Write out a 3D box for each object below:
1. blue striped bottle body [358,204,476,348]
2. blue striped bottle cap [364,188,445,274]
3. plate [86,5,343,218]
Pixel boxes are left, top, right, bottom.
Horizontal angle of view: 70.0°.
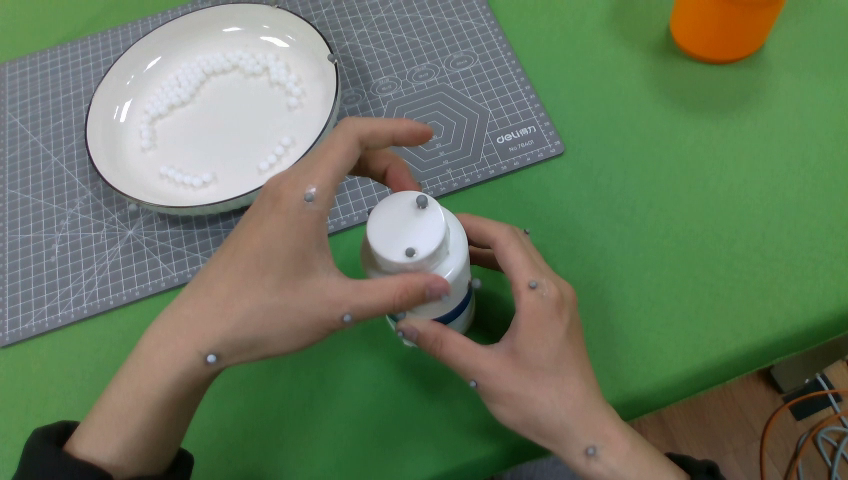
[{"bbox_3d":[-0.002,0.019,0.370,0.063,0.122,0.062,-3,62,7],"label":"blue striped bottle body"},{"bbox_3d":[-0.010,-0.005,0.324,0.044,0.021,0.044,1,65,-2],"label":"blue striped bottle cap"},{"bbox_3d":[-0.165,-0.105,0.497,0.207,0.039,0.206,-3,63,6],"label":"plate"}]
